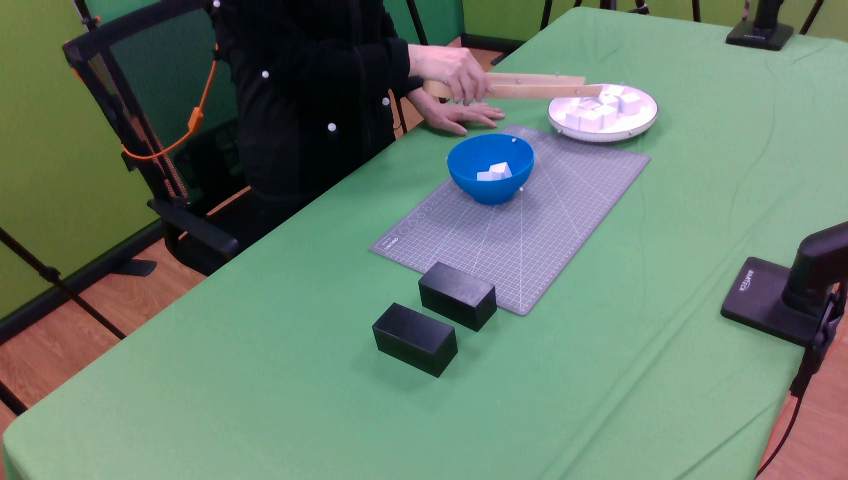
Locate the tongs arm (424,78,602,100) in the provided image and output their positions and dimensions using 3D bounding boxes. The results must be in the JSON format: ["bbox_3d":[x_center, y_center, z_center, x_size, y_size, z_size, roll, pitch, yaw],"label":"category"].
[{"bbox_3d":[0.179,-0.275,1.116,0.390,0.028,0.028,-5,43,-28],"label":"tongs arm"}]

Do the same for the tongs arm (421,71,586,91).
[{"bbox_3d":[0.164,-0.294,1.138,0.387,0.026,0.050,-4,39,-27],"label":"tongs arm"}]

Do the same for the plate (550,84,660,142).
[{"bbox_3d":[0.355,-0.246,1.195,0.207,0.039,0.206,-5,39,5],"label":"plate"}]

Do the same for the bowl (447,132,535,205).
[{"bbox_3d":[0.119,-0.115,1.051,0.151,0.077,0.150,-6,40,5],"label":"bowl"}]
